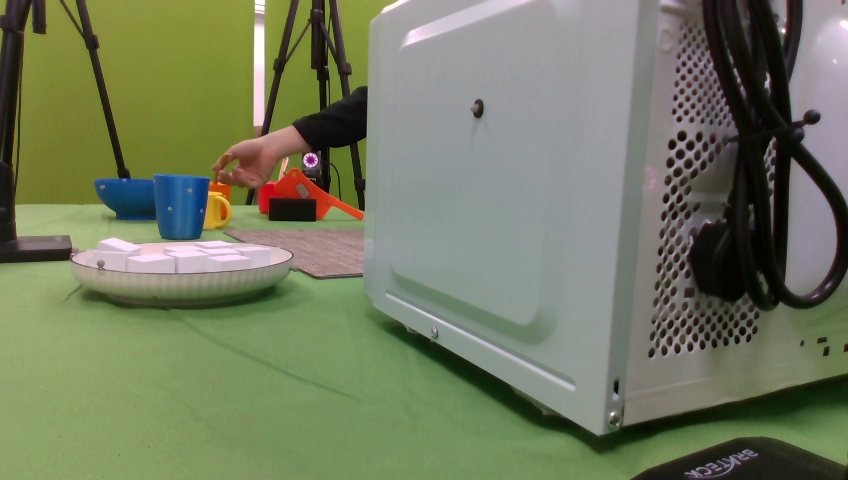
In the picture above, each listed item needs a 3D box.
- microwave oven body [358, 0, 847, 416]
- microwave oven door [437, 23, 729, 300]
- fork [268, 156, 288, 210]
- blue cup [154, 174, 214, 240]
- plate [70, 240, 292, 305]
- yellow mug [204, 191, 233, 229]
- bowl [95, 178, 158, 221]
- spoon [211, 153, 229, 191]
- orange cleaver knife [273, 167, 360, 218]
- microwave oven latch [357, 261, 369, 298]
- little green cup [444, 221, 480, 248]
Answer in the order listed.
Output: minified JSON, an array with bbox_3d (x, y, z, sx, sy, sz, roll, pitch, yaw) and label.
[{"bbox_3d":[0.211,-0.047,0.474,0.444,0.260,0.324,-1,7,-28],"label":"microwave oven body"},{"bbox_3d":[0.181,-0.072,0.621,0.358,0.243,0.039,-2,9,-29],"label":"microwave oven door"},{"bbox_3d":[-0.361,-0.144,1.507,0.028,0.018,0.207,1,49,0],"label":"fork"},{"bbox_3d":[-0.391,-0.053,0.978,0.093,0.100,0.092,4,6,0],"label":"blue cup"},{"bbox_3d":[-0.242,0.031,0.618,0.208,0.039,0.207,2,8,0],"label":"plate"},{"bbox_3d":[-0.415,-0.057,1.132,0.130,0.064,0.100,6,8,16],"label":"yellow mug"},{"bbox_3d":[-0.576,-0.081,1.217,0.151,0.077,0.151,3,8,0],"label":"bowl"},{"bbox_3d":[-0.431,-0.115,1.253,0.042,0.193,0.021,-4,54,-33],"label":"spoon"},{"bbox_3d":[-0.238,-0.091,1.381,0.212,0.077,0.012,31,0,-19],"label":"orange cleaver knife"},{"bbox_3d":[-0.019,0.033,0.529,0.079,0.029,0.030,0,7,-25],"label":"microwave oven latch"},{"bbox_3d":[0.065,-0.010,1.034,0.061,0.038,0.061,2,11,0],"label":"little green cup"}]
